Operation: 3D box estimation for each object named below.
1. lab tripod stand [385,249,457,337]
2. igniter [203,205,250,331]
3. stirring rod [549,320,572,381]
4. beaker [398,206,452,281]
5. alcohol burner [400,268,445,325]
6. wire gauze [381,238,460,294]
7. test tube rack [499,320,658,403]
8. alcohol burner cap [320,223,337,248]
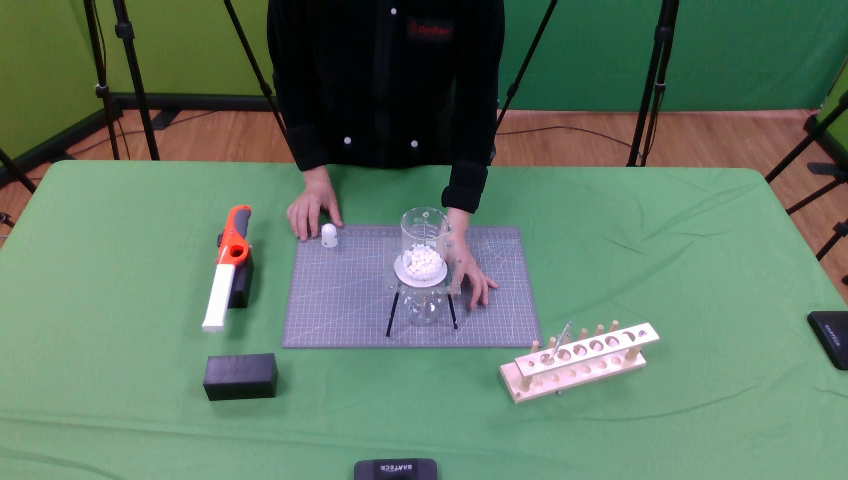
[{"bbox_3d":[-0.010,0.087,1.032,0.148,0.132,0.147,1,45,-1],"label":"lab tripod stand"},{"bbox_3d":[-0.345,0.039,1.065,0.057,0.025,0.274,2,49,-6],"label":"igniter"},{"bbox_3d":[0.201,0.168,0.900,0.006,0.177,0.014,-15,54,-10],"label":"stirring rod"},{"bbox_3d":[0.000,0.009,0.950,0.084,0.101,0.073,10,45,6],"label":"beaker"},{"bbox_3d":[-0.003,0.092,1.042,0.078,0.120,0.077,1,46,-1],"label":"alcohol burner"},{"bbox_3d":[-0.008,0.042,0.985,0.125,0.011,0.120,-1,43,-2],"label":"wire gauze"},{"bbox_3d":[0.252,0.187,0.994,0.243,0.085,0.066,-12,48,-15],"label":"test tube rack"},{"bbox_3d":[-0.187,-0.010,1.176,0.034,0.048,0.033,1,47,-1],"label":"alcohol burner cap"}]
